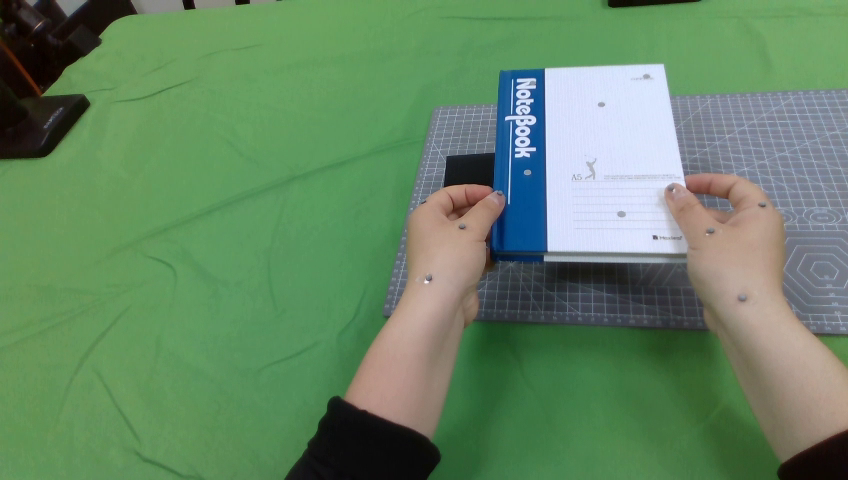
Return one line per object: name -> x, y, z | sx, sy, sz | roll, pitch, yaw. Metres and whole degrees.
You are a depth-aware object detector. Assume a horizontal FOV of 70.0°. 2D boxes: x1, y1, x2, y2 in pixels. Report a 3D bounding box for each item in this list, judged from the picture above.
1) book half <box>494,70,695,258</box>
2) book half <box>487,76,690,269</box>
book half -> 0.133, -0.071, 0.499 | 0.143, 0.007, 0.208 | 1, 53, 9
book half -> 0.131, -0.066, 0.505 | 0.148, 0.016, 0.208 | 1, 54, 9
